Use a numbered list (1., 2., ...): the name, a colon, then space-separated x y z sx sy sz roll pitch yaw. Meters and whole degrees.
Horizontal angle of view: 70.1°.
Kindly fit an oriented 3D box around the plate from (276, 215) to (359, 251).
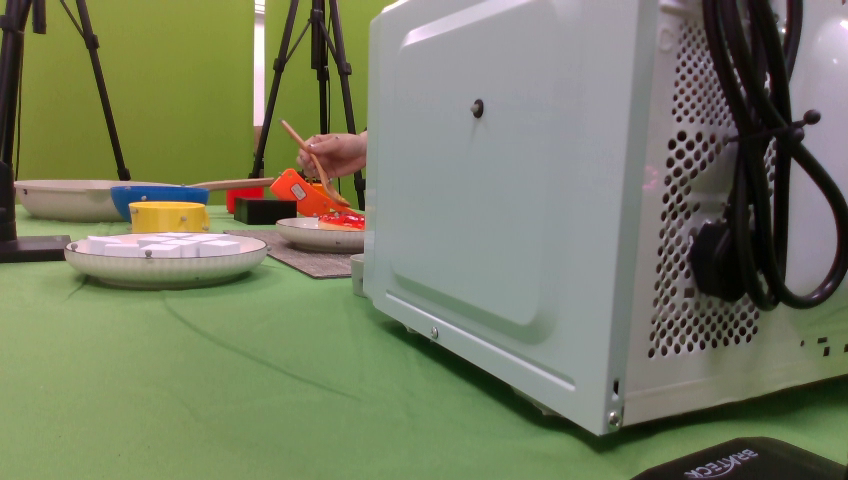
1. plate: -0.126 -0.012 0.950 0.209 0.038 0.209 2 7 0

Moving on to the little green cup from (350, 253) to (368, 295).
1. little green cup: -0.048 0.035 0.632 0.061 0.038 0.061 3 6 0

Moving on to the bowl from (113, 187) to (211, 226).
1. bowl: -0.436 -0.046 1.013 0.151 0.077 0.151 2 7 0

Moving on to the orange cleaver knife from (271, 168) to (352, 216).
1. orange cleaver knife: -0.237 -0.084 1.332 0.212 0.077 0.012 31 -9 -31

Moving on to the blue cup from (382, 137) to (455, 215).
1. blue cup: -0.003 -0.096 0.954 0.092 0.100 0.092 -36 -7 -4

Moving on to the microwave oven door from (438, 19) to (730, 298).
1. microwave oven door: 0.181 -0.076 0.618 0.358 0.243 0.039 -2 8 -28

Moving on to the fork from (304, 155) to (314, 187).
1. fork: -0.268 -0.134 1.446 0.028 0.018 0.207 1 -36 -1

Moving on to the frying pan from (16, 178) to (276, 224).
1. frying pan: -0.554 -0.097 1.266 0.490 0.102 0.305 -10 13 -24

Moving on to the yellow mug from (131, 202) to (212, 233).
1. yellow mug: -0.356 -0.020 0.878 0.099 0.064 0.131 5 7 21

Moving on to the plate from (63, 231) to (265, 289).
1. plate: -0.288 0.021 0.687 0.208 0.039 0.207 2 8 0

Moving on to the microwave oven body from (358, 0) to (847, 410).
1. microwave oven body: 0.210 -0.051 0.471 0.444 0.260 0.324 -1 7 -28

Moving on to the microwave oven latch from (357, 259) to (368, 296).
1. microwave oven latch: -0.019 0.031 0.528 0.079 0.029 0.030 -1 7 -25

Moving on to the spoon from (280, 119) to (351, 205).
1. spoon: -0.177 -0.127 0.973 0.021 0.193 0.042 -39 -17 14

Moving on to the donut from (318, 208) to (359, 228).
1. donut: -0.117 -0.024 0.953 0.099 0.048 0.099 6 6 0
